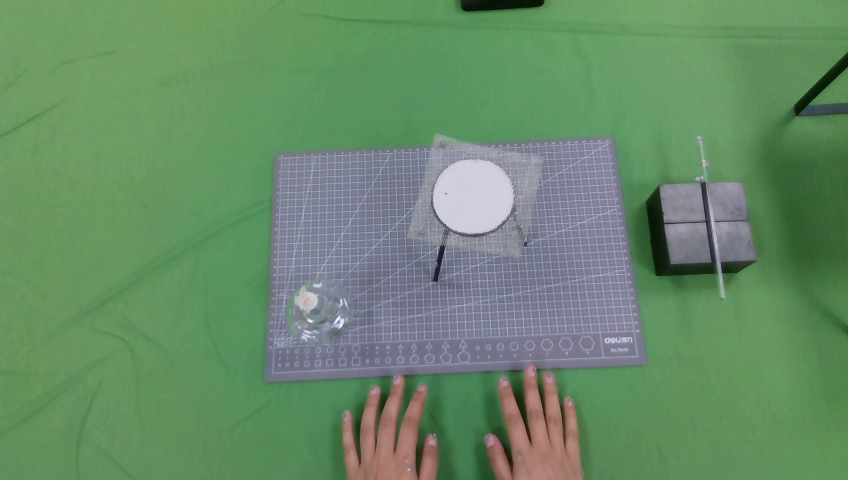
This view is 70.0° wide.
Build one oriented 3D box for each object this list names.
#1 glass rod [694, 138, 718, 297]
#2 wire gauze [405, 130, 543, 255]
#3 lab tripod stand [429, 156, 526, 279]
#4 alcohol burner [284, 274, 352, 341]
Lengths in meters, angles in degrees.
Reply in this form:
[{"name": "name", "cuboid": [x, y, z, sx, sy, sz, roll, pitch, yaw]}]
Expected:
[{"name": "glass rod", "cuboid": [0.333, -0.030, 0.714, 0.008, 0.008, 0.198, 1, 73, 2]}, {"name": "wire gauze", "cuboid": [0.054, -0.051, 0.637, 0.121, 0.011, 0.124, 14, 73, 6]}, {"name": "lab tripod stand", "cuboid": [0.050, -0.031, 0.701, 0.148, 0.132, 0.147, -1, 72, 3]}, {"name": "alcohol burner", "cuboid": [-0.122, 0.073, 0.681, 0.078, 0.120, 0.077, 0, 74, 1]}]
